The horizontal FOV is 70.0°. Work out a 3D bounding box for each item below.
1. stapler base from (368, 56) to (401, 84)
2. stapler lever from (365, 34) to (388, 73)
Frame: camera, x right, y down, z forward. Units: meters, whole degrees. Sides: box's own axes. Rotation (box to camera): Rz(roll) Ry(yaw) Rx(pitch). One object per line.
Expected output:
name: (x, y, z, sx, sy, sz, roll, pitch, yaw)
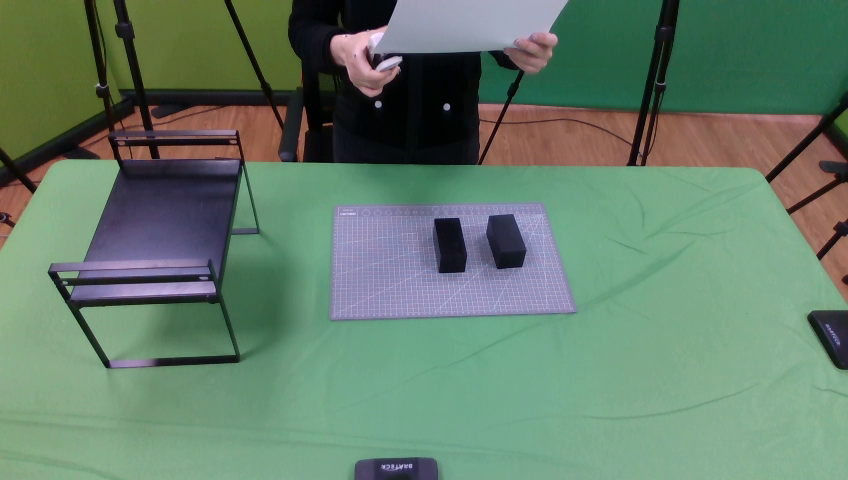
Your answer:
stapler base: (-0.072, -0.294, 1.028, 0.041, 0.024, 0.130, -26, 8, -11)
stapler lever: (-0.084, -0.315, 1.025, 0.027, 0.040, 0.118, -27, 9, -11)
